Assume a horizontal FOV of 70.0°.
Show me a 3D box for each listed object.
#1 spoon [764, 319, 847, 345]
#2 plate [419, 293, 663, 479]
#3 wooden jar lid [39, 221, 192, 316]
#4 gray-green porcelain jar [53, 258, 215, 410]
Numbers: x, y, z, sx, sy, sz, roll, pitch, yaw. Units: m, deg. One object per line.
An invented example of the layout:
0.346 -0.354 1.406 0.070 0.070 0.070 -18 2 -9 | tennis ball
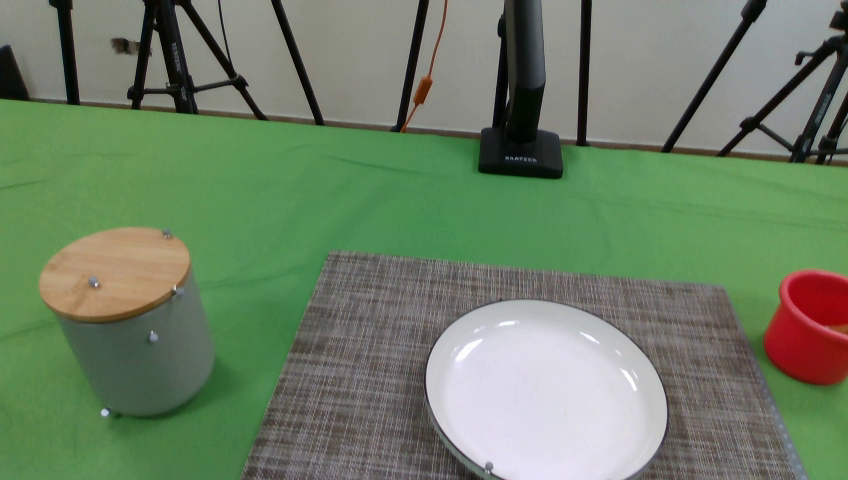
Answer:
0.406 0.075 0.542 0.041 0.022 0.193 -34 7 -36 | spoon
0.099 0.131 0.533 0.208 0.039 0.205 2 39 -1 | plate
-0.239 0.024 0.477 0.108 0.021 0.107 5 38 -3 | wooden jar lid
-0.241 0.073 0.518 0.106 0.127 0.105 2 39 -1 | gray-green porcelain jar
